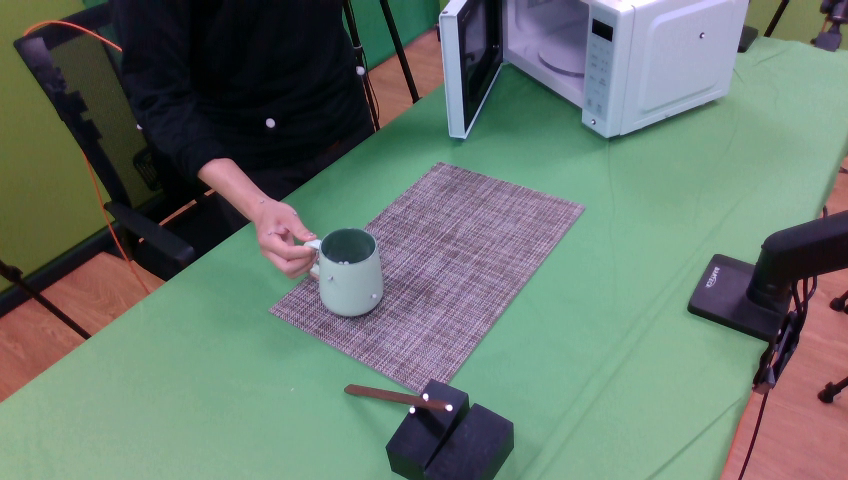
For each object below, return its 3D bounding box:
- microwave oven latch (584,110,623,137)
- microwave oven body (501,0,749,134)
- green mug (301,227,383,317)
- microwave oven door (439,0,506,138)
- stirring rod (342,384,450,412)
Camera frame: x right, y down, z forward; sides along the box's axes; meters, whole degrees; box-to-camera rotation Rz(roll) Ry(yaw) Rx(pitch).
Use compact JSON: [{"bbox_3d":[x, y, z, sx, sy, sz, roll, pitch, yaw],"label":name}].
[{"bbox_3d":[0.337,-0.222,1.142,0.030,0.029,0.078,-21,42,-14],"label":"microwave oven latch"},{"bbox_3d":[0.382,-0.444,1.246,0.327,0.261,0.437,-22,42,-16],"label":"microwave oven body"},{"bbox_3d":[-0.119,0.041,0.855,0.125,0.105,0.092,19,45,18],"label":"green mug"},{"bbox_3d":[0.108,-0.405,1.231,0.039,0.245,0.355,7,43,18],"label":"microwave oven door"},{"bbox_3d":[-0.038,0.186,0.714,0.175,0.006,0.014,-3,22,43],"label":"stirring rod"}]
